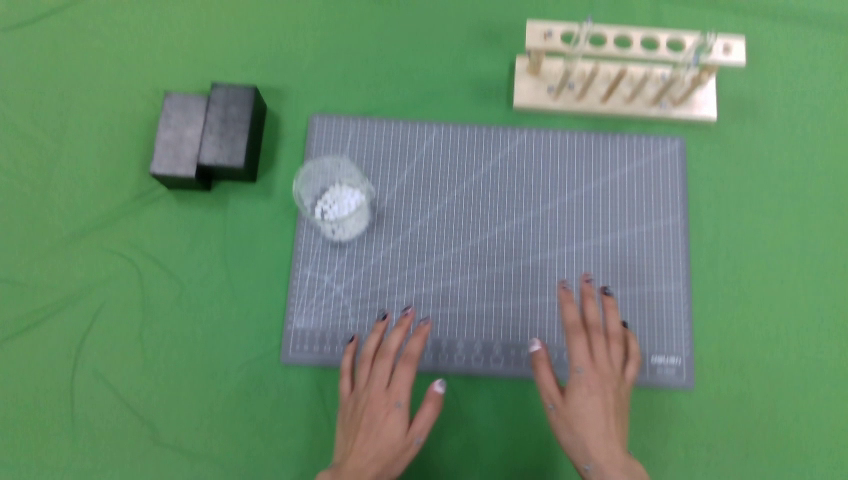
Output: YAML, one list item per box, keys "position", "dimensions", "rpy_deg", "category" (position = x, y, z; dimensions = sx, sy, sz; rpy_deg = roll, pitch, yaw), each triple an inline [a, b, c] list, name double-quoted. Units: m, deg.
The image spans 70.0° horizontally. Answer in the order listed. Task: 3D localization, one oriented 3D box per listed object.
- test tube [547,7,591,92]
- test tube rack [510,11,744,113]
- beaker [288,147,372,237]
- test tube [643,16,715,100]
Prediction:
- position: [0.154, -0.201, 0.652]
  dimensions: [0.017, 0.151, 0.017]
  rpy_deg: [0, 76, 0]
  category: "test tube"
- position: [0.227, -0.203, 0.699]
  dimensions: [0.242, 0.085, 0.066]
  rpy_deg: [4, 77, 0]
  category: "test tube rack"
- position: [-0.094, -0.047, 0.649]
  dimensions: [0.084, 0.100, 0.073]
  rpy_deg: [4, 77, 0]
  category: "beaker"
- position: [0.271, -0.192, 0.651]
  dimensions: [0.017, 0.151, 0.017]
  rpy_deg: [1, 76, -2]
  category: "test tube"
